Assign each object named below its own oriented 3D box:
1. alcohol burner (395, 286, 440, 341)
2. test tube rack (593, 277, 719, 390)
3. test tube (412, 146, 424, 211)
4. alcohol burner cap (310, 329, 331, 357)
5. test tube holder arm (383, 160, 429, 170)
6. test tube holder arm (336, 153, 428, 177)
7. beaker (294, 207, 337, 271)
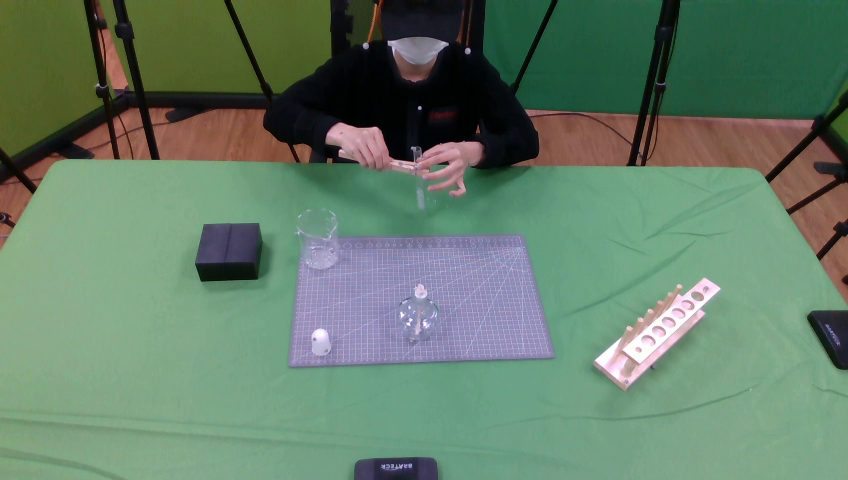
[{"bbox_3d":[-0.010,0.116,1.018,0.078,0.119,0.077,3,47,-3],"label":"alcohol burner"},{"bbox_3d":[0.401,0.148,1.043,0.242,0.085,0.066,-30,55,-29],"label":"test tube rack"},{"bbox_3d":[-0.011,-0.115,1.174,0.017,0.151,0.017,-2,42,2],"label":"test tube"},{"bbox_3d":[-0.173,0.168,1.005,0.034,0.048,0.033,2,46,-2],"label":"alcohol burner cap"},{"bbox_3d":[-0.035,-0.141,1.161,0.088,0.015,0.010,5,39,-6],"label":"test tube holder arm"},{"bbox_3d":[-0.080,-0.144,1.155,0.178,0.015,0.013,10,38,1],"label":"test tube holder arm"},{"bbox_3d":[-0.196,0.003,1.123,0.074,0.101,0.083,-23,52,-24],"label":"beaker"}]
